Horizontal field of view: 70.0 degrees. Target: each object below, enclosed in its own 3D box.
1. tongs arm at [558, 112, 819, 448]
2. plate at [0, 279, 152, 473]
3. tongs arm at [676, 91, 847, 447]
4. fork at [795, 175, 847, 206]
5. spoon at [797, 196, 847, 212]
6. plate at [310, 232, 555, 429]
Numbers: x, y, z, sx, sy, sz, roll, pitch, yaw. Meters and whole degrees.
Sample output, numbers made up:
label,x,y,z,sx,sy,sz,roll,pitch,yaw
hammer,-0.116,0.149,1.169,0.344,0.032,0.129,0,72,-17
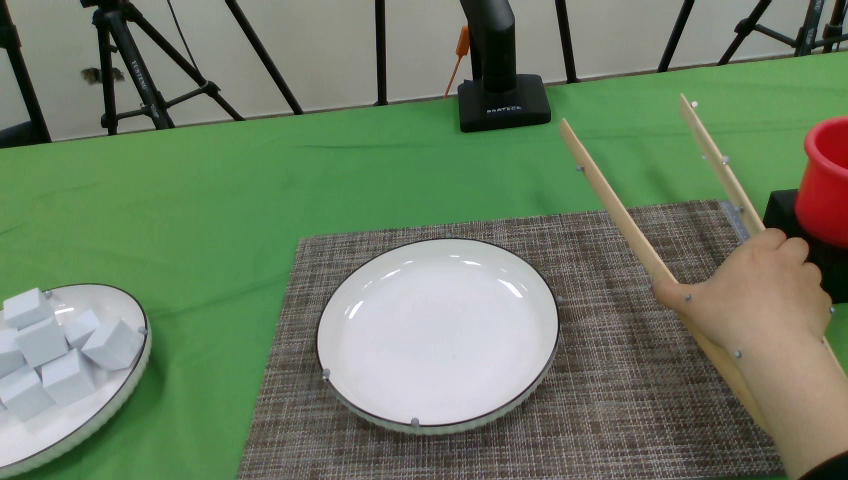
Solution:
label,x,y,z,sx,sy,sz,roll,pitch,yaw
tongs arm,0.199,0.004,0.530,0.028,0.028,0.383,-12,48,-9
plate,-0.348,0.121,0.547,0.209,0.038,0.207,-5,41,5
tongs arm,0.269,-0.009,0.531,0.051,0.027,0.380,-7,48,1
fork,0.397,-0.083,0.472,0.207,0.019,0.028,-38,8,30
spoon,0.369,-0.053,0.442,0.041,0.194,0.021,-29,87,-27
plate,0.007,0.076,0.526,0.207,0.039,0.205,-5,42,5
